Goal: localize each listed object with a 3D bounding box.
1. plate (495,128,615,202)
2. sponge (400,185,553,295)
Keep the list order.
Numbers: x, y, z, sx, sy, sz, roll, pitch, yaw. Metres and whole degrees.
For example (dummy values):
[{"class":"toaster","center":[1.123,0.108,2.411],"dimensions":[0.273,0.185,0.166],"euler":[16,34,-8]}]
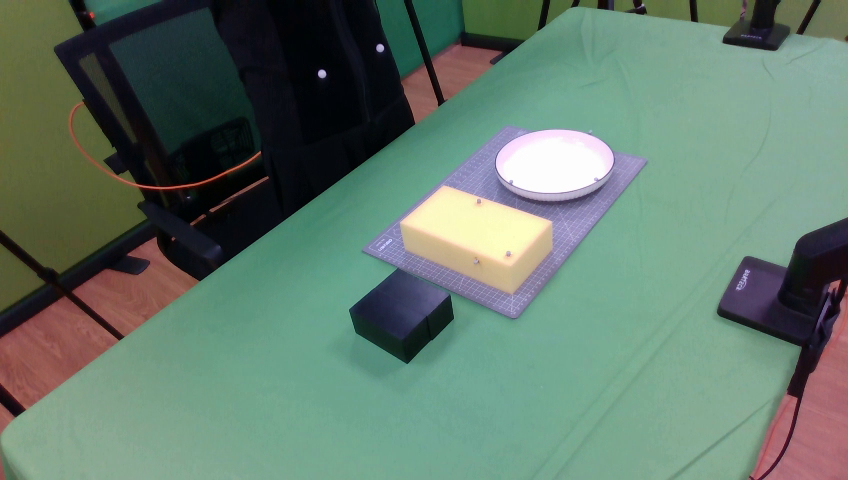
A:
[{"class":"plate","center":[0.231,-0.130,1.077],"dimensions":[0.209,0.038,0.208],"euler":[-5,40,5]},{"class":"sponge","center":[0.081,-0.005,0.940],"dimensions":[0.205,0.061,0.118],"euler":[22,49,31]}]
